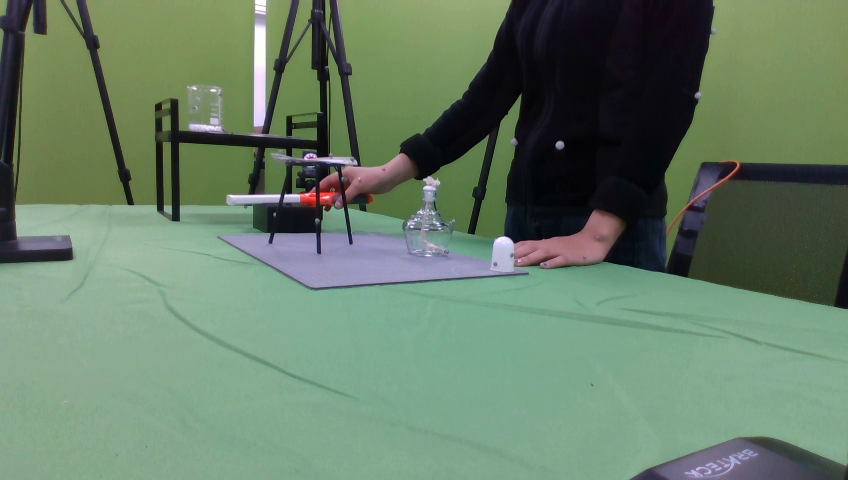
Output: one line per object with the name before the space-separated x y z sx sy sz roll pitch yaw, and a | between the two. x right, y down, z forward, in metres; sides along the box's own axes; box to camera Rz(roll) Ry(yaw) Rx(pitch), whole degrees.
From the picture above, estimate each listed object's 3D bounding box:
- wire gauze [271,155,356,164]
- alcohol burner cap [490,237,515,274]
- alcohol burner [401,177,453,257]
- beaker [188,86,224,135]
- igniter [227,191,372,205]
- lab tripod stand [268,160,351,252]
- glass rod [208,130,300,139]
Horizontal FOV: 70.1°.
wire gauze | -0.167 -0.122 0.917 0.125 0.011 0.121 0 7 -9
alcohol burner cap | 0.104 0.020 0.793 0.034 0.048 0.034 2 6 0
alcohol burner | 0.006 -0.035 0.903 0.078 0.119 0.078 4 6 0
beaker | -0.474 -0.280 1.311 0.074 0.100 0.084 5 8 25
igniter | -0.232 -0.080 1.162 0.278 0.025 0.057 -3 11 -28
lab tripod stand | -0.171 -0.055 0.922 0.148 0.131 0.148 1 9 0
glass rod | -0.367 -0.231 1.321 0.201 0.008 0.008 -1 8 -30
